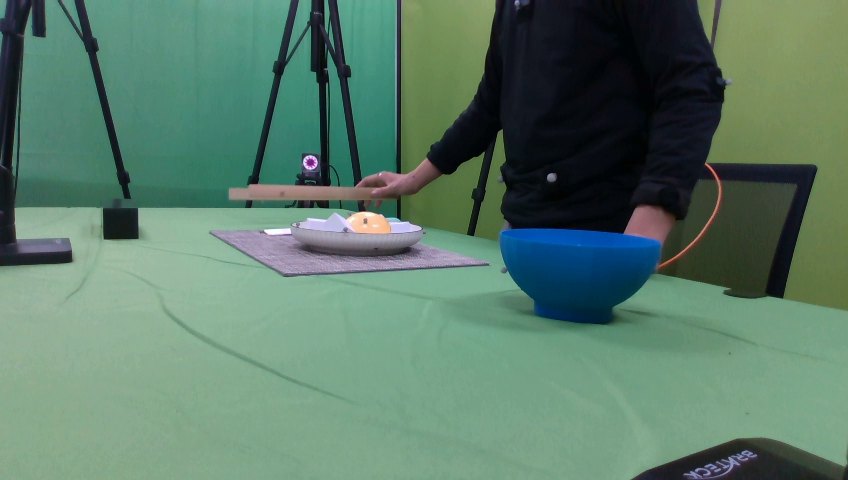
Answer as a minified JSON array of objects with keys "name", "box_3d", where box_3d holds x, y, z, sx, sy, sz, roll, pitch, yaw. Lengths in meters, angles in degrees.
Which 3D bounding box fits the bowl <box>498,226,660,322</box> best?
[{"name":"bowl","box_3d":[0.145,0.032,0.583,0.151,0.077,0.151,2,7,0]}]

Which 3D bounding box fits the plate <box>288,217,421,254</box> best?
[{"name":"plate","box_3d":[-0.109,-0.007,0.956,0.208,0.039,0.207,2,7,0]}]

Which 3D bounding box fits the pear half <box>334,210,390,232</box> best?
[{"name":"pear half","box_3d":[-0.108,-0.017,0.920,0.110,0.056,0.076,-4,5,-20]}]

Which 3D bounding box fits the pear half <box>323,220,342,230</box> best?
[{"name":"pear half","box_3d":[-0.127,-0.019,1.001,0.088,0.031,0.070,8,4,1]}]

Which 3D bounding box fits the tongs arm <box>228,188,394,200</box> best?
[{"name":"tongs arm","box_3d":[-0.246,-0.107,1.390,0.387,0.026,0.050,-3,1,-29]}]

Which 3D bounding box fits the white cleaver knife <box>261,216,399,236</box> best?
[{"name":"white cleaver knife","box_3d":[-0.169,-0.021,1.156,0.288,0.021,0.065,-7,20,-33]}]

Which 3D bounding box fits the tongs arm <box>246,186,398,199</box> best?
[{"name":"tongs arm","box_3d":[-0.205,-0.104,1.326,0.390,0.027,0.028,-4,-1,-40]}]
